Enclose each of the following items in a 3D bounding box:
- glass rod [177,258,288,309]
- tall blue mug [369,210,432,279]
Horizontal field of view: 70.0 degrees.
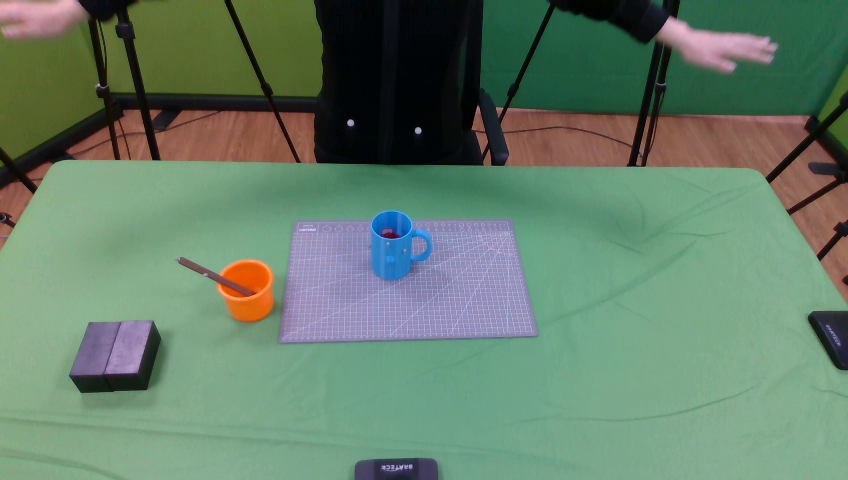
[{"bbox_3d":[-0.319,0.076,1.020,0.200,0.008,0.008,30,41,-25],"label":"glass rod"},{"bbox_3d":[-0.049,0.005,1.125,0.107,0.108,0.077,-19,50,-21],"label":"tall blue mug"}]
